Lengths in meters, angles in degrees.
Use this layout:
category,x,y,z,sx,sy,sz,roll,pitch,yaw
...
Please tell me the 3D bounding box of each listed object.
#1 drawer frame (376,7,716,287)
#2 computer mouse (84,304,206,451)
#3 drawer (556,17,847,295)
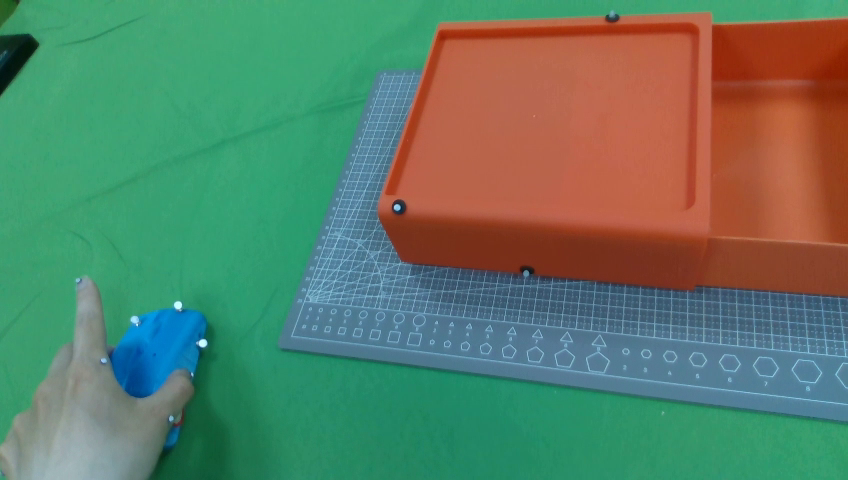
category,x,y,z,sx,sy,sz,roll,pitch,yaw
drawer frame,0.097,-0.075,0.454,0.213,0.083,0.200,4,60,18
computer mouse,-0.209,0.098,0.456,0.062,0.041,0.116,-5,53,14
drawer,0.206,-0.067,0.421,0.211,0.074,0.193,4,60,17
